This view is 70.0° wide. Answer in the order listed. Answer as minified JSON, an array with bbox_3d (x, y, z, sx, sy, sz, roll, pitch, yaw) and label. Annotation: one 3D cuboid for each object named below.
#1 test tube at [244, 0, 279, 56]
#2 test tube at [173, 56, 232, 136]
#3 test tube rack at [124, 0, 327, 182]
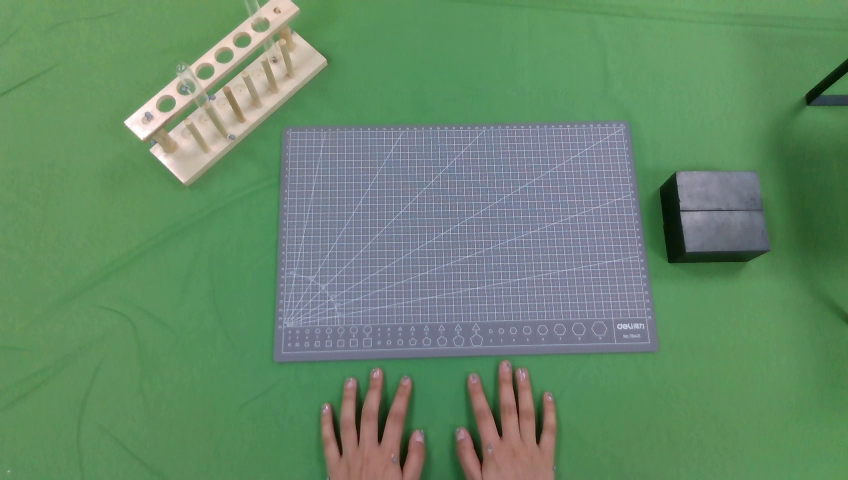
[{"bbox_3d":[-0.197,-0.268,0.717,0.017,0.151,0.017,-1,71,2],"label":"test tube"},{"bbox_3d":[-0.250,-0.160,0.691,0.017,0.151,0.017,0,71,1],"label":"test tube"},{"bbox_3d":[-0.234,-0.188,0.745,0.066,0.085,0.242,43,77,10],"label":"test tube rack"}]
